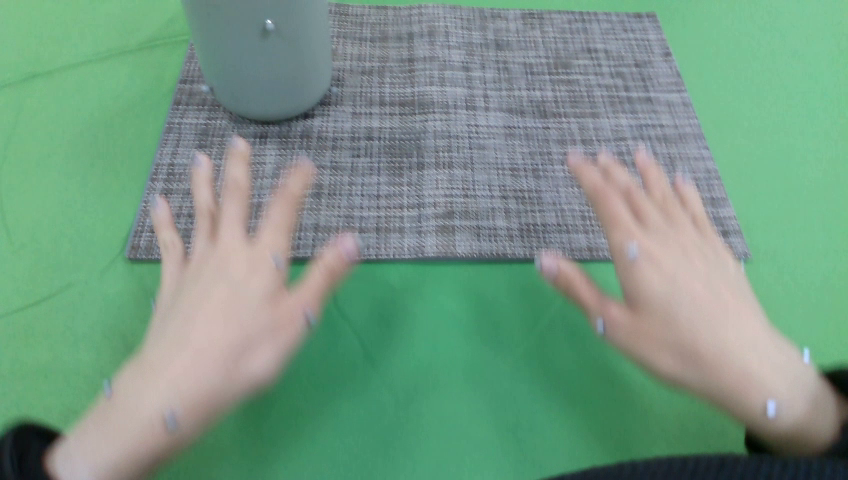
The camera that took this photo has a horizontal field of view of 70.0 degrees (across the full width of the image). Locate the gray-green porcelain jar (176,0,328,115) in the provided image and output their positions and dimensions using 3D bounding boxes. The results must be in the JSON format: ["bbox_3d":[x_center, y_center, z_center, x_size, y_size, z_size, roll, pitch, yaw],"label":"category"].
[{"bbox_3d":[-0.130,-0.170,0.469,0.106,0.127,0.105,2,56,-2],"label":"gray-green porcelain jar"}]
